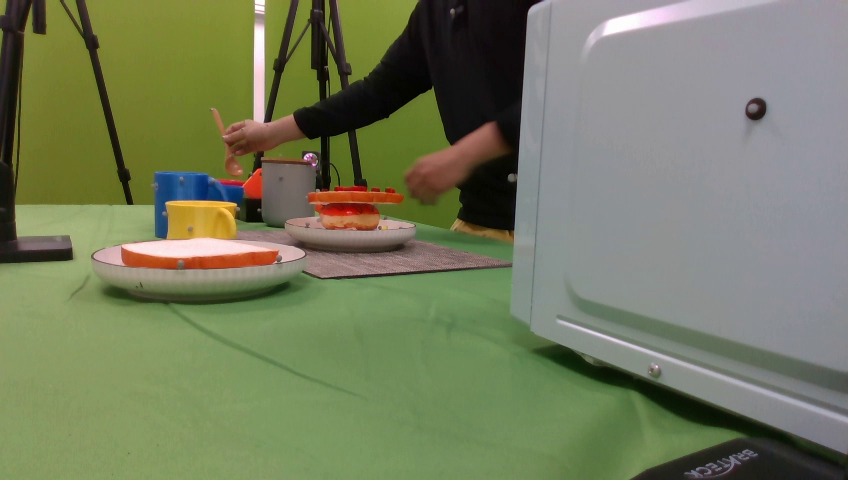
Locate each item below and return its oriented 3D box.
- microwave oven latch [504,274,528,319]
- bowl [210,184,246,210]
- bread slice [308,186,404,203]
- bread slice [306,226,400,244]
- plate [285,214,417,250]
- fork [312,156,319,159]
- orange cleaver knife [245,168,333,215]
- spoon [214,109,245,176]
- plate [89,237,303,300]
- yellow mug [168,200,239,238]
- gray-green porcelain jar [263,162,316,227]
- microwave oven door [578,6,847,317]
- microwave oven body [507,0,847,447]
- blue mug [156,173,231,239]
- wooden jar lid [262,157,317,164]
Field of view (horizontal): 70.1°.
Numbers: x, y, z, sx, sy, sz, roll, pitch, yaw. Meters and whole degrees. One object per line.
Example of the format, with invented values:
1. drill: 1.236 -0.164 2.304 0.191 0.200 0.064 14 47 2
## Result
1. microwave oven latch: 0.100 0.041 0.471 0.079 0.029 0.030 -1 7 -28
2. bowl: -0.422 -0.067 1.166 0.151 0.077 0.151 2 7 0
3. bread slice: -0.114 -0.071 0.952 0.134 0.018 0.107 -2 0 21
4. bread slice: -0.103 -0.009 0.961 0.131 0.019 0.105 1 8 24
5. plate: -0.116 -0.014 0.964 0.209 0.038 0.209 2 7 0
6. fork: -0.331 -0.144 1.506 0.207 0.018 0.028 -42 -19 22
7. orange cleaver knife: -0.300 -0.089 1.351 0.212 0.077 0.012 29 -11 -34
8. spoon: -0.482 -0.240 1.487 0.042 0.193 0.021 -12 -14 -35
9. plate: -0.233 0.029 0.637 0.208 0.039 0.207 2 7 0
10. yellow mug: -0.320 -0.023 0.904 0.130 0.064 0.100 9 11 36
11. gray-green porcelain jar: -0.271 -0.092 1.218 0.106 0.126 0.106 2 7 0
12. microwave oven door: 0.294 -0.067 0.570 0.358 0.243 0.039 -3 9 -31
13. microwave oven body: 0.331 -0.042 0.425 0.444 0.260 0.324 -2 8 -31
14. blue mug: -0.381 -0.057 1.004 0.117 0.106 0.082 0 8 -12
15. wooden jar lid: -0.269 -0.154 1.208 0.108 0.020 0.108 3 4 0
